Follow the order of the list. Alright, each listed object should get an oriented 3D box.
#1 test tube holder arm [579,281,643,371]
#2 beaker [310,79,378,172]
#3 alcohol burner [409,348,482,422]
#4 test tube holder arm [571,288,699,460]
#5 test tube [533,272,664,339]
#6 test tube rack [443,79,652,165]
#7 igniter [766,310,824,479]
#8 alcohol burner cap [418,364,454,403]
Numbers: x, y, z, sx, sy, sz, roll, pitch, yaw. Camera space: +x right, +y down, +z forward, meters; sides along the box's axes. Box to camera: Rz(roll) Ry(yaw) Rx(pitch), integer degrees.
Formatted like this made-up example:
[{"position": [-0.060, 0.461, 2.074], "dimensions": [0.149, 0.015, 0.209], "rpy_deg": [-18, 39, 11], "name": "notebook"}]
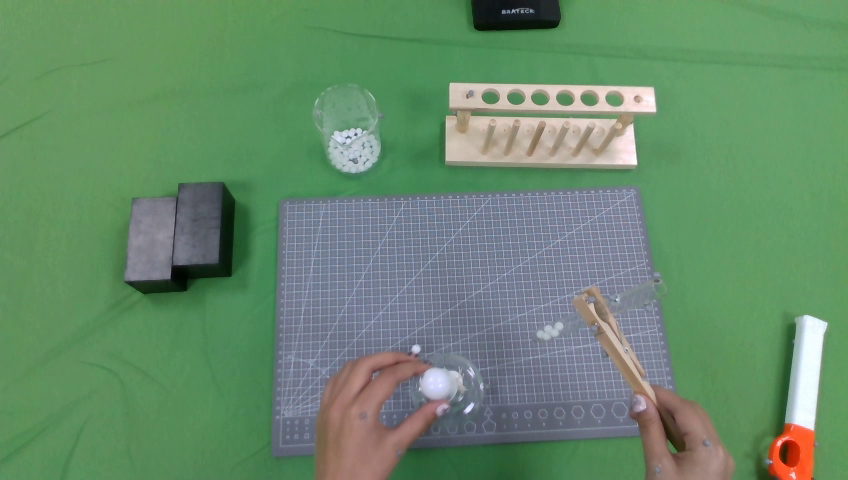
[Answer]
[{"position": [0.160, 0.076, 0.520], "dimensions": [0.010, 0.015, 0.088], "rpy_deg": [-28, 89, -36], "name": "test tube holder arm"}, {"position": [-0.092, -0.130, 0.725], "dimensions": [0.074, 0.101, 0.083], "rpy_deg": [0, 71, -2], "name": "beaker"}, {"position": [0.024, 0.147, 0.624], "dimensions": [0.078, 0.120, 0.077], "rpy_deg": [1, 70, -3], "name": "alcohol burner"}, {"position": [0.181, 0.116, 0.518], "dimensions": [0.013, 0.015, 0.178], "rpy_deg": [-37, 94, -36], "name": "test tube holder arm"}, {"position": [0.143, 0.060, 0.520], "dimensions": [0.017, 0.150, 0.017], "rpy_deg": [13, 61, -25], "name": "test tube"}, {"position": [0.146, -0.143, 0.745], "dimensions": [0.242, 0.085, 0.066], "rpy_deg": [1, 71, -1], "name": "test tube rack"}, {"position": [0.406, 0.210, 0.664], "dimensions": [0.057, 0.025, 0.275], "rpy_deg": [21, 72, -5], "name": "igniter"}, {"position": [0.009, 0.129, 0.548], "dimensions": [0.034, 0.048, 0.033], "rpy_deg": [-3, 69, 7], "name": "alcohol burner cap"}]
